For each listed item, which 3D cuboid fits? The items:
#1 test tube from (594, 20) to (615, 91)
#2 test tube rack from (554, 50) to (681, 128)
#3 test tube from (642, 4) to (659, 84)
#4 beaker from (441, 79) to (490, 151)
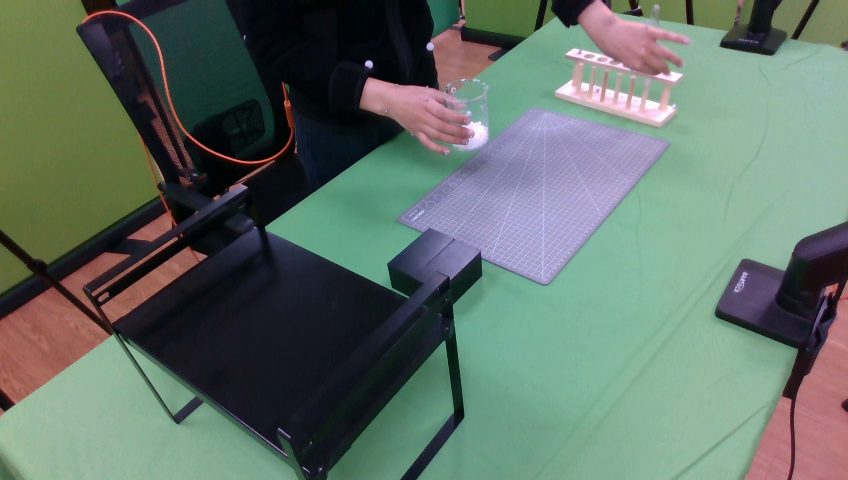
[{"bbox_3d":[0.367,-0.372,1.232,0.017,0.151,0.017,0,43,0],"label":"test tube"},{"bbox_3d":[0.387,-0.311,1.234,0.240,0.085,0.067,28,52,35],"label":"test tube rack"},{"bbox_3d":[0.415,-0.357,1.109,0.017,0.151,0.017,-5,40,5],"label":"test tube"},{"bbox_3d":[0.074,-0.206,1.005,0.084,0.101,0.073,-22,44,-13],"label":"beaker"}]
